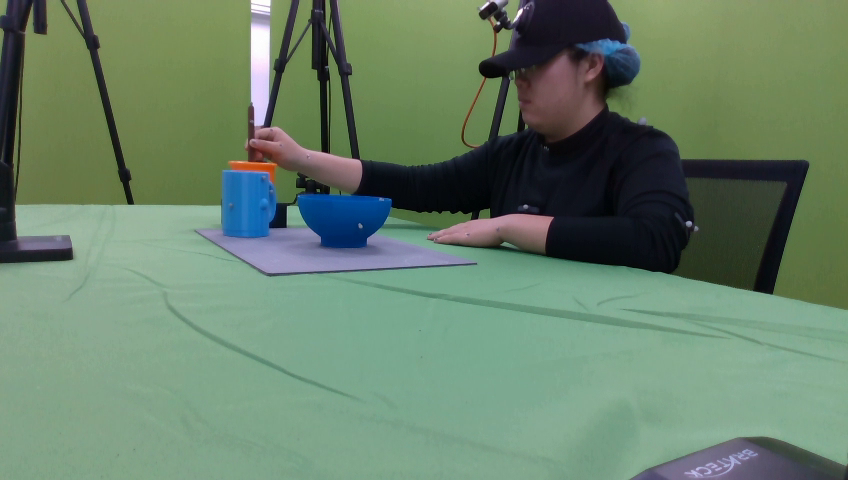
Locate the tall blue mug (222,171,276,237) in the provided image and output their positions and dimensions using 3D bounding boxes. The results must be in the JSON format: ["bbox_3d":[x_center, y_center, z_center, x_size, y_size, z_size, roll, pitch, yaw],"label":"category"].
[{"bbox_3d":[-0.303,-0.064,1.043,0.078,0.108,0.107,1,7,-4],"label":"tall blue mug"}]

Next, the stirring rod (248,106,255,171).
[{"bbox_3d":[-0.337,-0.174,1.184,0.006,0.176,0.014,3,5,31],"label":"stirring rod"}]

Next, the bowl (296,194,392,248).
[{"bbox_3d":[-0.127,-0.030,0.963,0.151,0.077,0.151,2,7,0],"label":"bowl"}]
